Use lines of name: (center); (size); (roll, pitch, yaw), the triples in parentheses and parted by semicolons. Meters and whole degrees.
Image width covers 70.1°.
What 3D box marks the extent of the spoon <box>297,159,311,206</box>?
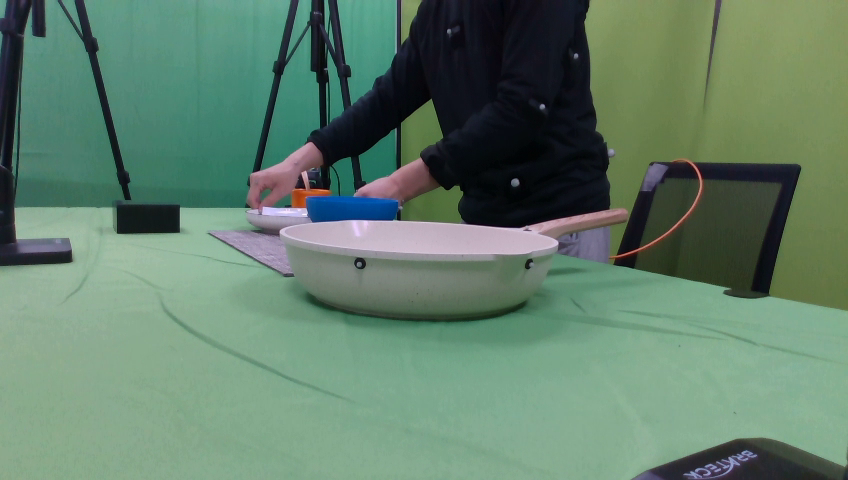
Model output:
spoon: (-0.260, -0.113, 1.340); (0.042, 0.193, 0.021); (0, -37, -25)

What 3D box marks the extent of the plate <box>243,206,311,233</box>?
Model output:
plate: (-0.235, -0.037, 1.150); (0.208, 0.039, 0.207); (2, 7, 0)

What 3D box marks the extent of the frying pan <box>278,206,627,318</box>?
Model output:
frying pan: (0.079, 0.002, 0.705); (0.490, 0.102, 0.305); (-12, 15, -33)

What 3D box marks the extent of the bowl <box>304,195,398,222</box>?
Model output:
bowl: (-0.118, -0.030, 0.973); (0.151, 0.077, 0.151); (2, 7, 0)
